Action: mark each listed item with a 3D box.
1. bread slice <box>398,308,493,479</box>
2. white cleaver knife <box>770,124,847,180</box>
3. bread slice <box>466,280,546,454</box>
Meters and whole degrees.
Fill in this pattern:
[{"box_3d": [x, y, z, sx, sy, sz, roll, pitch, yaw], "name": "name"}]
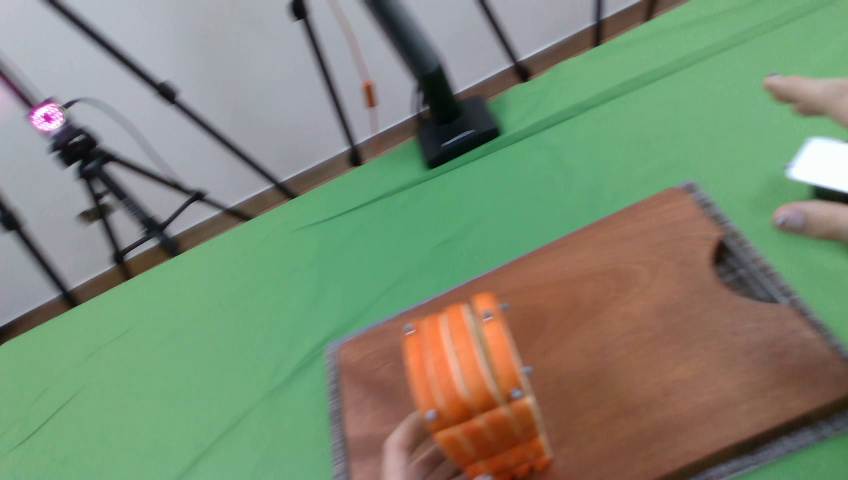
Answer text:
[{"box_3d": [0.017, 0.115, 0.486, 0.018, 0.136, 0.106, -25, 39, 8], "name": "bread slice"}, {"box_3d": [0.418, -0.046, 0.465, 0.066, 0.022, 0.283, -45, 45, -14], "name": "white cleaver knife"}, {"box_3d": [0.064, 0.095, 0.478, 0.019, 0.133, 0.103, -21, 44, 3], "name": "bread slice"}]
